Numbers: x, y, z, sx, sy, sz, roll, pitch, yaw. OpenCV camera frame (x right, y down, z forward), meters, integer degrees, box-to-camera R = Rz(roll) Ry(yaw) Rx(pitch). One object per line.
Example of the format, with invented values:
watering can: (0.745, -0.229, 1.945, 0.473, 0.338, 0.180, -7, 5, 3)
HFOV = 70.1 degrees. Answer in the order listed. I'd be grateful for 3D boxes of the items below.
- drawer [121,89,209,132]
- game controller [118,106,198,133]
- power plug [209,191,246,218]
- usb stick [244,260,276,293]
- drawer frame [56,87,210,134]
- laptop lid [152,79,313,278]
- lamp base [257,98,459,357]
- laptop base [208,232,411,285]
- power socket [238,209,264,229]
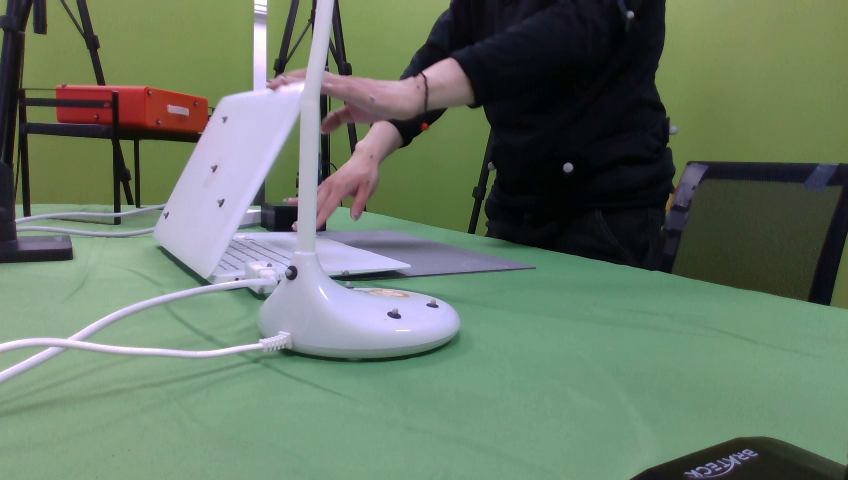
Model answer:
drawer: (-0.595, -0.268, 1.263, 0.211, 0.073, 0.195, 4, 8, 15)
game controller: (-0.555, -0.251, 1.255, 0.097, 0.051, 0.155, 9, 12, 18)
power plug: (-0.387, -0.071, 1.204, 0.072, 0.052, 0.035, 4, 8, 26)
usb stick: (-0.166, 0.035, 0.604, 0.021, 0.027, 0.059, -8, 7, -28)
drawer frame: (-0.598, -0.269, 1.261, 0.213, 0.082, 0.202, 4, 8, 14)
laptop lid: (-0.257, -0.087, 0.756, 0.013, 0.241, 0.355, 30, -8, -32)
lamp base: (-0.055, -0.014, 0.463, 0.160, 0.180, 0.180, 6, 11, 27)
laptop base: (-0.203, 0.019, 0.807, 0.237, 0.023, 0.352, 0, 7, -33)
power socket: (-0.381, -0.038, 1.128, 0.072, 0.032, 0.227, 4, 8, 16)
